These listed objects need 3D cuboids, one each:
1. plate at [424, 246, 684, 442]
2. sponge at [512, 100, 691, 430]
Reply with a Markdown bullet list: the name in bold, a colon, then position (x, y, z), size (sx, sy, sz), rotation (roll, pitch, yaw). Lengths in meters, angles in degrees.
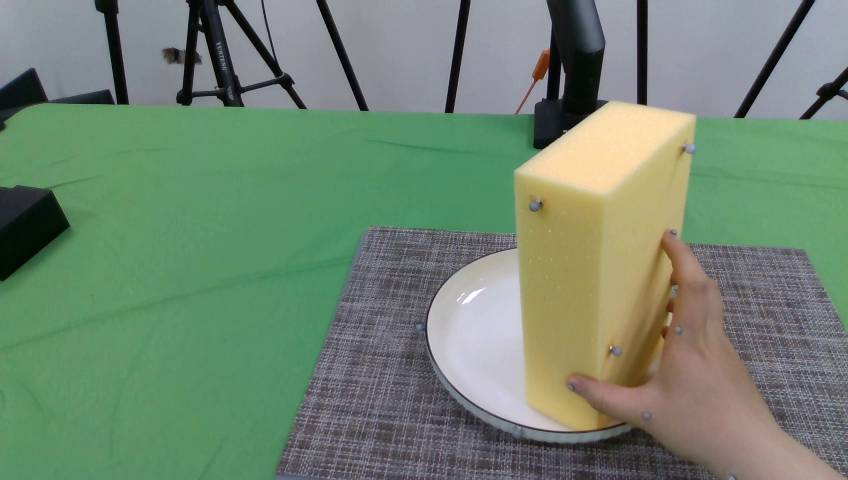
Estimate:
- **plate**: position (0.104, 0.082, 0.507), size (0.207, 0.039, 0.205), rotation (-2, 38, 2)
- **sponge**: position (0.124, 0.022, 0.426), size (0.060, 0.209, 0.118), rotation (22, 46, 36)
